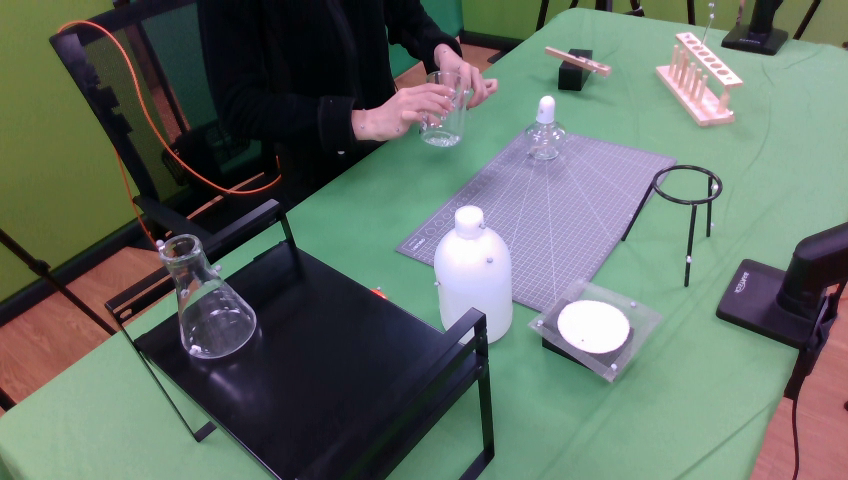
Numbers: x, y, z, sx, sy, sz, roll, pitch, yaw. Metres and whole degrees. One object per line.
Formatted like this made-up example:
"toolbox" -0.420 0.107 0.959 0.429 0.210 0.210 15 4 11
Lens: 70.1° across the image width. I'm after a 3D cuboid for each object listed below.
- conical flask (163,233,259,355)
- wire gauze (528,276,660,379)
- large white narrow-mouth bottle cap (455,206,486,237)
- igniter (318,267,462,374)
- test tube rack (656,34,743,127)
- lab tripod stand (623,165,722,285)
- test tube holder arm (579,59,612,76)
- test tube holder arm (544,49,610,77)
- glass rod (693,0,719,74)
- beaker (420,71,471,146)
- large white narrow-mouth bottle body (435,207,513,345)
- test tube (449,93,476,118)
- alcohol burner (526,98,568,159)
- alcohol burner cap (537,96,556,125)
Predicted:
"conical flask" -0.216 0.051 0.601 0.075 0.122 0.075 -4 40 4
"wire gauze" 0.213 0.103 0.763 0.124 0.011 0.122 30 52 35
"large white narrow-mouth bottle cap" 0.057 -0.023 0.734 0.038 0.024 0.037 -4 40 4
"igniter" -0.059 0.107 0.862 0.274 0.025 0.057 28 62 34
"test tube rack" 0.553 -0.330 1.233 0.067 0.085 0.241 -7 40 2
"lab tripod stand" 0.365 -0.030 0.875 0.148 0.132 0.147 -6 41 6
"test tube holder arm" 0.362 -0.368 1.289 0.010 0.015 0.087 -25 43 -31
"test tube holder arm" 0.330 -0.386 1.314 0.013 0.015 0.177 -25 43 -32
"glass rod" 0.561 -0.401 1.214 0.008 0.200 0.008 -1 48 2
"beaker" 0.034 -0.208 0.979 0.074 0.084 0.100 5 76 14
"large white narrow-mouth bottle body" 0.065 0.041 0.791 0.102 0.195 0.101 -4 41 4
"test tube" 0.072 -0.243 1.098 0.017 0.017 0.151 7 2 17
"alcohol burner" 0.228 -0.210 1.118 0.078 0.119 0.077 -5 43 5
"alcohol burner cap" 0.223 -0.237 1.095 0.034 0.048 0.033 0 42 1
